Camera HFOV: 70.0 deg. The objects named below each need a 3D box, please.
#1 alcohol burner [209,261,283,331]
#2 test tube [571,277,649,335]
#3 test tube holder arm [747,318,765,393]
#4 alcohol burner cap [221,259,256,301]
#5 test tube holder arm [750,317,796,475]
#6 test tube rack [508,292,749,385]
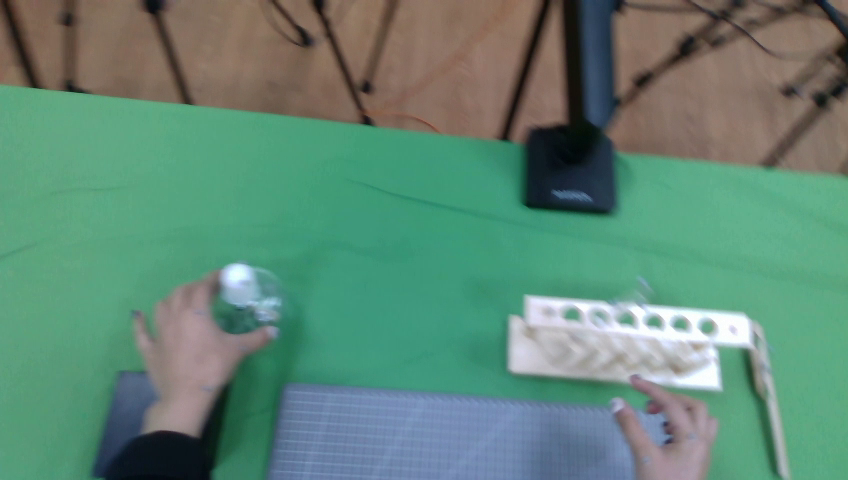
[{"bbox_3d":[-0.190,0.053,0.638,0.078,0.120,0.077,2,65,-4],"label":"alcohol burner"},{"bbox_3d":[0.189,0.073,0.630,0.017,0.151,0.017,5,64,-10],"label":"test tube"},{"bbox_3d":[0.392,0.136,0.717,0.010,0.015,0.087,-15,65,27],"label":"test tube holder arm"},{"bbox_3d":[-0.186,0.037,0.605,0.034,0.048,0.033,5,61,-9],"label":"alcohol burner cap"},{"bbox_3d":[0.399,0.176,0.697,0.013,0.015,0.177,-16,65,27],"label":"test tube holder arm"},{"bbox_3d":[0.221,0.111,0.671,0.243,0.085,0.066,5,66,-4],"label":"test tube rack"}]
